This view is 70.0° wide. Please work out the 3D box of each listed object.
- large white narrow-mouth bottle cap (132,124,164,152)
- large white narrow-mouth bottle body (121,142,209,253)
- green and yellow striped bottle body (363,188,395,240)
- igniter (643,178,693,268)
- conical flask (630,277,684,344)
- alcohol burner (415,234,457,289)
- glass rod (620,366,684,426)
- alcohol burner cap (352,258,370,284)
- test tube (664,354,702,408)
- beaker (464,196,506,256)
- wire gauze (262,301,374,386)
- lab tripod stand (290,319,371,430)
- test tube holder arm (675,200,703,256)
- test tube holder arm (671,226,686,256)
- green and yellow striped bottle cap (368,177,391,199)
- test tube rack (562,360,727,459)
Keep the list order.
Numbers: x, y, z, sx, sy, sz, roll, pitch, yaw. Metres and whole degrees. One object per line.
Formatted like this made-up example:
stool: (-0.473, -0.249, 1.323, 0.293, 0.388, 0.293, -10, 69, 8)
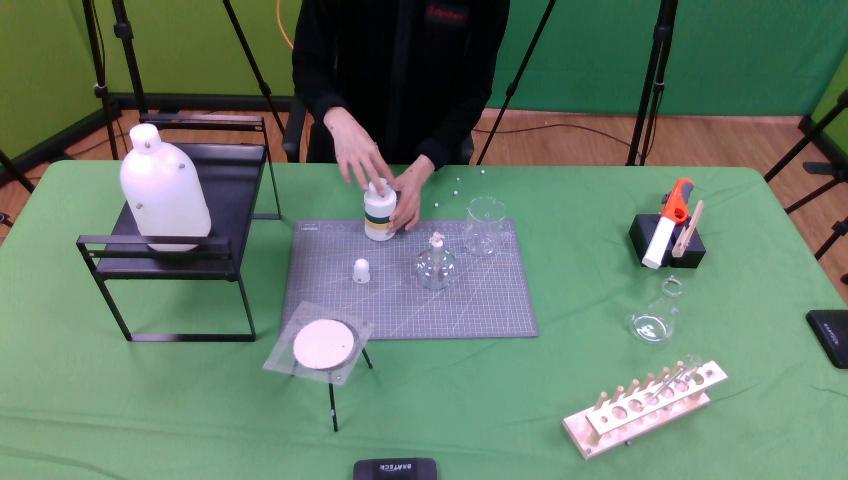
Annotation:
large white narrow-mouth bottle cap: (-0.370, -0.137, 0.813, 0.038, 0.024, 0.037, 3, 46, -3)
large white narrow-mouth bottle body: (-0.378, -0.077, 0.875, 0.102, 0.195, 0.101, 3, 46, -3)
green and yellow striped bottle body: (-0.087, -0.061, 1.177, 0.063, 0.120, 0.063, 2, 46, -2)
igniter: (0.488, -0.042, 1.205, 0.057, 0.025, 0.276, 30, 51, 11)
conical flask: (0.408, 0.117, 1.045, 0.075, 0.122, 0.075, 2, 46, -2)
alcohol burner: (0.022, 0.033, 1.099, 0.078, 0.120, 0.077, 1, 47, -1)
glass rod: (0.322, 0.227, 0.866, 0.008, 0.200, 0.008, 5, 51, -7)
alcohol burner cap: (-0.117, 0.055, 1.118, 0.034, 0.048, 0.033, 2, 46, -1)
test tube: (0.385, 0.215, 0.906, 0.017, 0.151, 0.017, -1, 49, 1)
beaker: (0.117, -0.026, 1.174, 0.074, 0.101, 0.083, 21, 48, 15)
wire gauze: (-0.150, 0.148, 0.873, 0.121, 0.011, 0.124, 14, 46, 12)
lab tripod stand: (-0.146, 0.193, 0.923, 0.148, 0.132, 0.147, 1, 47, -1)
test tube holder arm: (0.522, -0.025, 1.190, 0.013, 0.015, 0.178, 0, 36, 41)
test tube holder arm: (0.494, 0.001, 1.167, 0.010, 0.015, 0.087, 1, 36, 42)
green and yellow striped bottle cap: (-0.084, -0.098, 1.138, 0.045, 0.020, 0.045, 2, 45, -2)
test tube rack: (0.341, 0.247, 0.940, 0.243, 0.085, 0.066, -16, 49, -18)
